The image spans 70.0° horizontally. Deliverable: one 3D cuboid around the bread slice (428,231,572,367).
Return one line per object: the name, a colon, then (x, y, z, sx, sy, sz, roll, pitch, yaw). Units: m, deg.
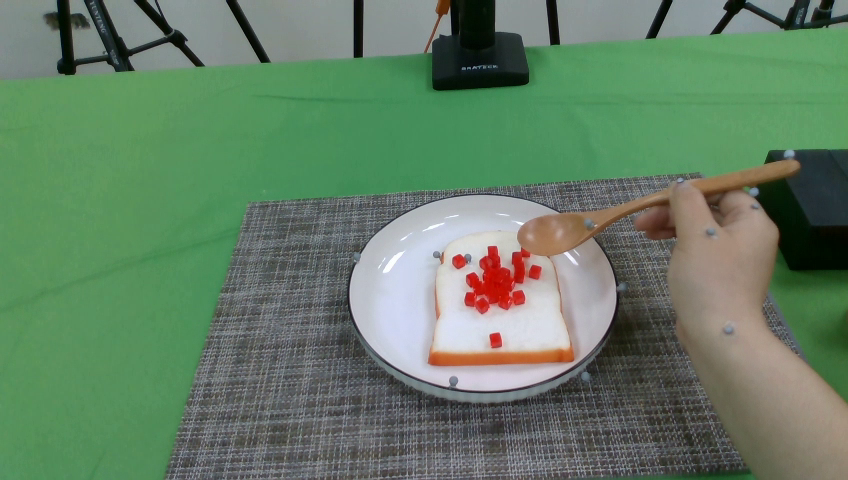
bread slice: (0.056, 0.042, 0.482, 0.105, 0.019, 0.130, -1, 45, 3)

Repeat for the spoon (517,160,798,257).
spoon: (0.157, -0.023, 0.432, 0.193, 0.022, 0.041, -19, 41, 30)

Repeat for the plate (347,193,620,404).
plate: (0.044, 0.042, 0.480, 0.209, 0.038, 0.207, -3, 44, 3)
